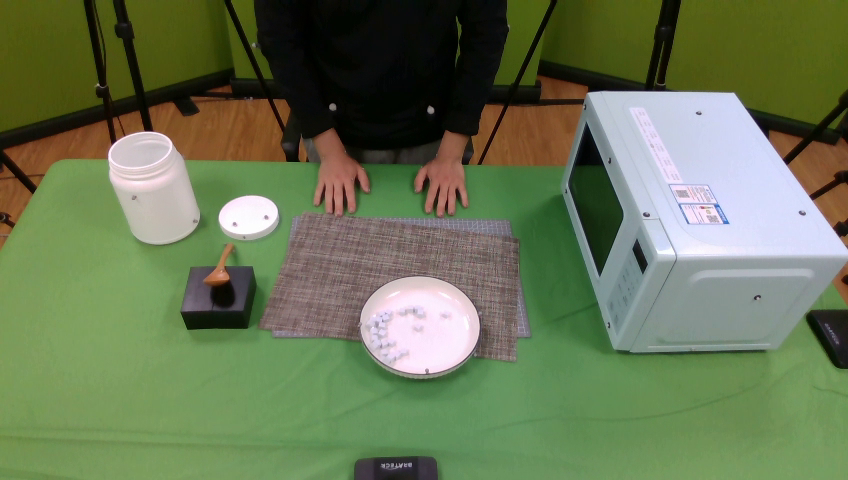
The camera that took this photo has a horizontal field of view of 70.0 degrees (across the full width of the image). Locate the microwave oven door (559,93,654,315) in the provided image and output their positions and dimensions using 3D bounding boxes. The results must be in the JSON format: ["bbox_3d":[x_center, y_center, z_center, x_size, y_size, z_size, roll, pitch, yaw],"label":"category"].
[{"bbox_3d":[0.327,-0.074,1.123,0.039,0.245,0.353,-1,46,-5],"label":"microwave oven door"}]

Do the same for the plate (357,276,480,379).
[{"bbox_3d":[-0.009,0.151,1.038,0.209,0.038,0.208,2,47,-2],"label":"plate"}]

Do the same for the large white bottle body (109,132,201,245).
[{"bbox_3d":[-0.506,-0.097,1.141,0.131,0.185,0.130,2,46,-2],"label":"large white bottle body"}]

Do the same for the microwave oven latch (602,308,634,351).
[{"bbox_3d":[0.332,0.153,1.044,0.030,0.029,0.078,-1,45,-4],"label":"microwave oven latch"}]

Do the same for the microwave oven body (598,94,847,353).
[{"bbox_3d":[0.475,-0.041,1.109,0.326,0.261,0.438,-1,45,-4],"label":"microwave oven body"}]

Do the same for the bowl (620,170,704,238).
[{"bbox_3d":[0.446,-0.057,1.166,0.151,0.077,0.150,2,46,-2],"label":"bowl"}]

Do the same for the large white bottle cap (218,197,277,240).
[{"bbox_3d":[-0.354,-0.045,1.220,0.115,0.018,0.114,2,45,-2],"label":"large white bottle cap"}]

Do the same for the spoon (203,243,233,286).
[{"bbox_3d":[-0.360,0.039,1.087,0.041,0.022,0.192,-5,24,-7],"label":"spoon"}]
